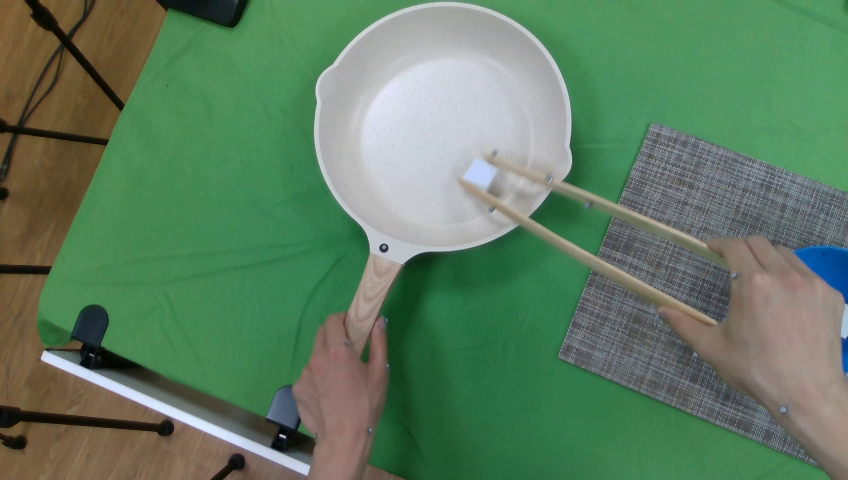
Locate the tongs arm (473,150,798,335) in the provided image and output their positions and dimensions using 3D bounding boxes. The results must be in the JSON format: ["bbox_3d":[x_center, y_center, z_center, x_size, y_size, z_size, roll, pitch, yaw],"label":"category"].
[{"bbox_3d":[0.166,-0.018,0.582,0.050,0.027,0.381,-52,43,-7],"label":"tongs arm"}]

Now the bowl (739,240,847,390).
[{"bbox_3d":[0.401,0.079,0.641,0.151,0.077,0.151,-1,82,5],"label":"bowl"}]

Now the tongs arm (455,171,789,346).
[{"bbox_3d":[0.150,0.000,0.581,0.028,0.028,0.383,-47,43,-7],"label":"tongs arm"}]

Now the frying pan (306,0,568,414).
[{"bbox_3d":[-0.024,-0.040,0.686,0.306,0.103,0.486,22,76,9],"label":"frying pan"}]
